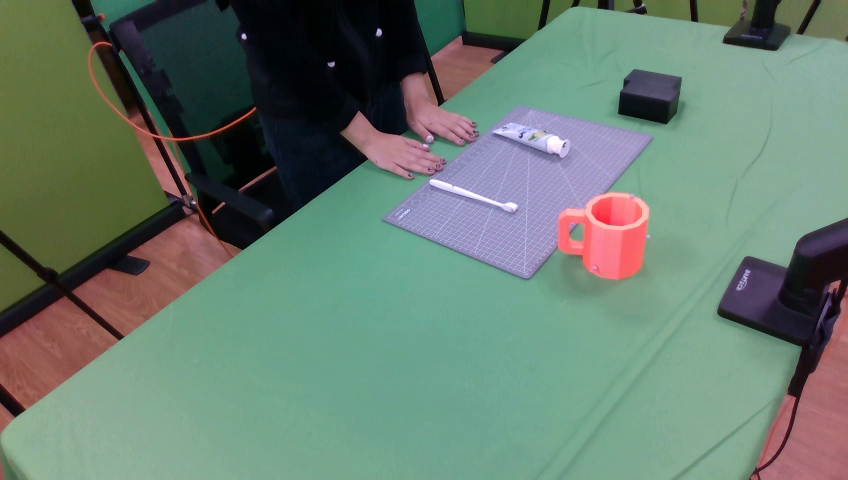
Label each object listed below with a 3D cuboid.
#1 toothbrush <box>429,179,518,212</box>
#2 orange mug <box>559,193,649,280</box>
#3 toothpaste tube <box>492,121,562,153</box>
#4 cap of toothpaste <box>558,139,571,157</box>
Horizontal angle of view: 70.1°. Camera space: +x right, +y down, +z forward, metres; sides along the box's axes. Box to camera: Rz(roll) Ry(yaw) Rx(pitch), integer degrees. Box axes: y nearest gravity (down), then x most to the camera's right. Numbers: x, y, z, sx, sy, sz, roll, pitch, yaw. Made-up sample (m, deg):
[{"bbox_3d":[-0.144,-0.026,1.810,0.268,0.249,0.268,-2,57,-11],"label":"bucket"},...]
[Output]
[{"bbox_3d":[0.084,-0.081,1.063,0.180,0.014,0.017,20,45,30],"label":"toothbrush"},{"bbox_3d":[0.261,-0.008,0.884,0.126,0.101,0.083,9,43,14],"label":"orange mug"},{"bbox_3d":[0.208,-0.203,1.174,0.055,0.034,0.163,-27,39,-30],"label":"toothpaste tube"},{"bbox_3d":[0.258,-0.171,1.118,0.011,0.037,0.037,25,52,32],"label":"cap of toothpaste"}]
